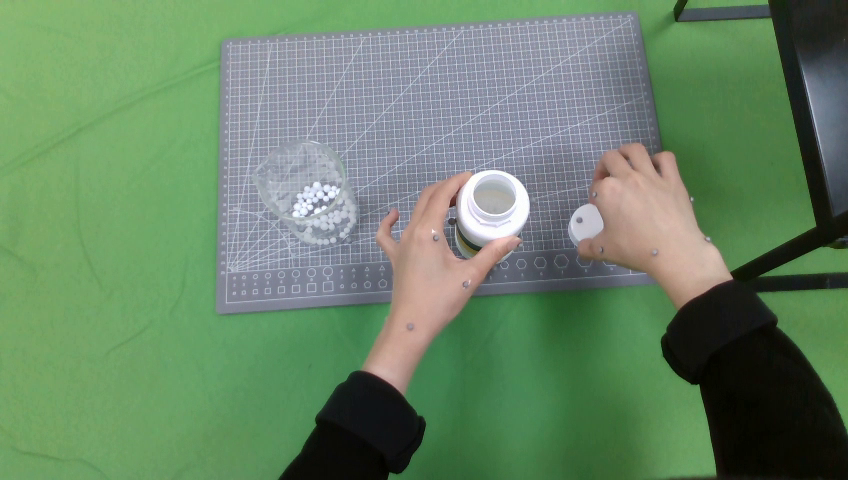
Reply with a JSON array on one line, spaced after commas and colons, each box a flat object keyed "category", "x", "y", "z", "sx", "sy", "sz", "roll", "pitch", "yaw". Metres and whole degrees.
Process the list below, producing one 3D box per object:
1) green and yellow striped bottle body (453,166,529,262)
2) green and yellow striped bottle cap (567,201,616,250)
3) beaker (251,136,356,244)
[{"category": "green and yellow striped bottle body", "x": 0.058, "y": -0.024, "z": 0.539, "sx": 0.063, "sy": 0.120, "sz": 0.063, "roll": 0, "pitch": 74, "yaw": 2}, {"category": "green and yellow striped bottle cap", "x": 0.160, "y": -0.014, "z": 0.576, "sx": 0.045, "sy": 0.020, "sz": 0.045, "roll": -1, "pitch": 71, "yaw": 4}, {"category": "beaker", "x": -0.105, "y": -0.041, "z": 0.557, "sx": 0.084, "sy": 0.101, "sz": 0.073, "roll": 7, "pitch": 75, "yaw": 4}]
